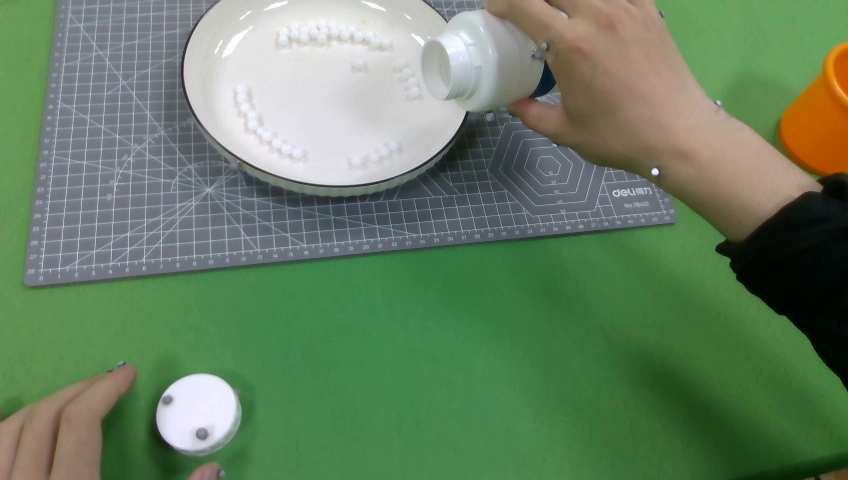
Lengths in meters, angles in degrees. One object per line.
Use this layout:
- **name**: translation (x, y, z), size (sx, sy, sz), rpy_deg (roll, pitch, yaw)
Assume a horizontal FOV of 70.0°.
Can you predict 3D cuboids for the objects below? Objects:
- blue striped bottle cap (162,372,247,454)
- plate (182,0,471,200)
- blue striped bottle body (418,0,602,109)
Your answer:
- **blue striped bottle cap**: translation (-0.126, 0.098, 0.348), size (0.044, 0.021, 0.044), rpy_deg (2, 65, -5)
- **plate**: translation (-0.067, -0.115, 0.451), size (0.208, 0.039, 0.206), rpy_deg (4, 62, -7)
- **blue striped bottle body**: translation (0.056, -0.125, 0.407), size (0.121, 0.063, 0.062), rpy_deg (-18, 66, -28)
